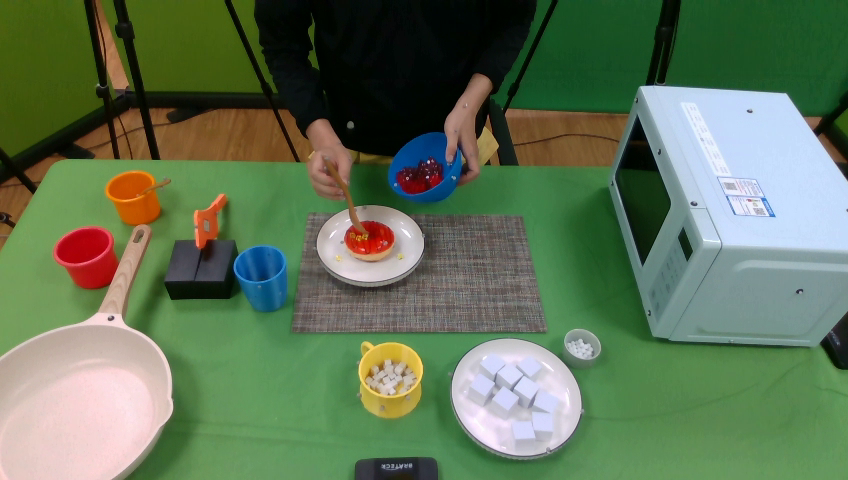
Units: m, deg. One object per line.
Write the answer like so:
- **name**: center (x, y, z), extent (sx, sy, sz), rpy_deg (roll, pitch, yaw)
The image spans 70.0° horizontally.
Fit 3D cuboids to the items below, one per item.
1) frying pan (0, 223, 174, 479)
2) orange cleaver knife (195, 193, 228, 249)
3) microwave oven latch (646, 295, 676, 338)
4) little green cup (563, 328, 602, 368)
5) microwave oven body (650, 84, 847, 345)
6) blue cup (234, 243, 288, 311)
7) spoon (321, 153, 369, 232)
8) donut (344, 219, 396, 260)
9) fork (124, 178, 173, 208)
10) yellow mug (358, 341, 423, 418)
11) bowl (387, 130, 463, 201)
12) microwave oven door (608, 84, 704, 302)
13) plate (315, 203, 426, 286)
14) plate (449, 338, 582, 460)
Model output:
- **frying pan**: center (-0.505, 0.169, 0.941), extent (0.307, 0.103, 0.485), rpy_deg (5, 54, -1)
- **orange cleaver knife**: center (-0.406, -0.041, 1.163), extent (0.012, 0.077, 0.210), rpy_deg (0, 18, -3)
- **microwave oven latch**: center (0.413, 0.133, 1.060), extent (0.030, 0.029, 0.078), rpy_deg (4, 46, 1)
- **little green cup**: center (0.265, 0.184, 1.025), extent (0.061, 0.039, 0.061), rpy_deg (1, 46, -1)
- **microwave oven body**: center (0.569, -0.054, 1.116), extent (0.326, 0.261, 0.439), rpy_deg (2, 46, -1)
- **blue cup**: center (-0.276, 0.072, 1.052), extent (0.093, 0.101, 0.092), rpy_deg (1, 48, -1)
- **spoon**: center (-0.137, -0.080, 1.062), extent (0.021, 0.195, 0.041), rpy_deg (-34, 45, -14)
- **donut**: center (-0.103, -0.002, 1.157), extent (0.099, 0.048, 0.098), rpy_deg (3, 43, -2)
- **fork**: center (-0.525, -0.090, 1.153), extent (0.207, 0.019, 0.028), rpy_deg (-18, 27, 45)
- **yellow mug**: center (-0.063, 0.210, 0.961), extent (0.100, 0.064, 0.130), rpy_deg (-29, 54, -27)
- **bowl**: center (0.015, -0.128, 1.162), extent (0.151, 0.077, 0.150), rpy_deg (-16, 53, 22)
- **microwave oven door**: center (0.424, -0.096, 1.138), extent (0.039, 0.245, 0.353), rpy_deg (2, 46, -1)
- **plate**: center (-0.101, 0.012, 1.159), extent (0.209, 0.038, 0.208), rpy_deg (2, 46, -2)
- **plate**: center (0.141, 0.251, 0.955), extent (0.208, 0.039, 0.206), rpy_deg (2, 46, -2)
